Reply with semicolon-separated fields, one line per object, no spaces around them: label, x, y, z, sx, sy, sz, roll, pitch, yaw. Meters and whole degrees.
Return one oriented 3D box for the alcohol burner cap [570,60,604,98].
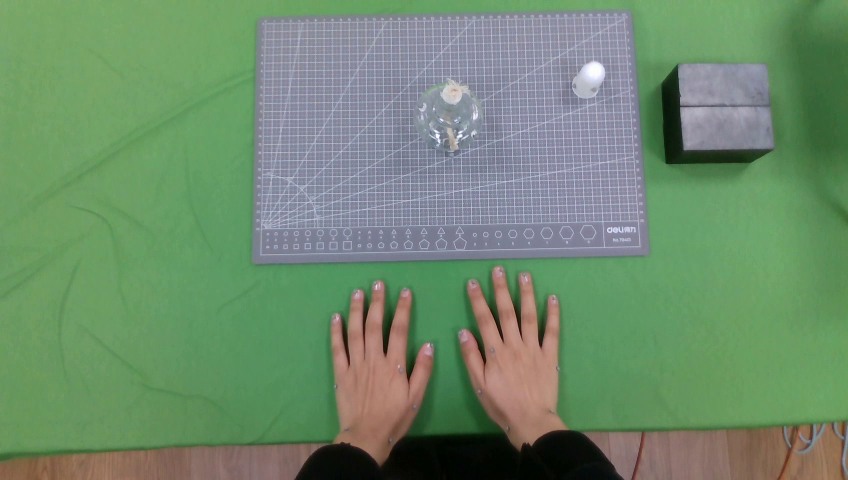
alcohol burner cap;0.189;-0.188;0.696;0.034;0.048;0.033;0;80;0

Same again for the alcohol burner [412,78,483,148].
alcohol burner;0.026;-0.143;0.653;0.078;0.119;0.077;0;81;-2
